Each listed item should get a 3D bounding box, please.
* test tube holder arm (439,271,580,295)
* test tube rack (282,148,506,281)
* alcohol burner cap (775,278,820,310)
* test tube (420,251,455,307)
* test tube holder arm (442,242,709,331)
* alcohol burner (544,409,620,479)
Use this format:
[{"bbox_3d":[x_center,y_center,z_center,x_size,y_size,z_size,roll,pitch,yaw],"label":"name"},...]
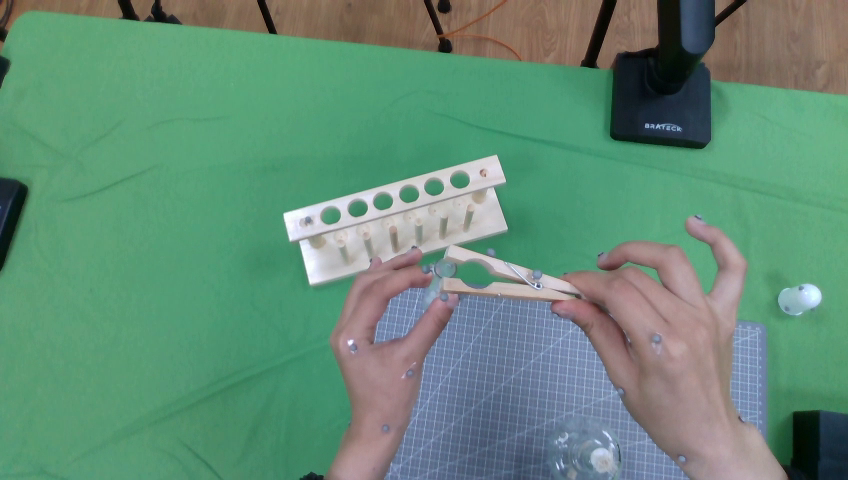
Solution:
[{"bbox_3d":[0.053,0.027,0.376,0.088,0.015,0.010,4,84,-8],"label":"test tube holder arm"},{"bbox_3d":[-0.027,-0.027,0.689,0.242,0.085,0.066,-16,74,-4],"label":"test tube rack"},{"bbox_3d":[0.424,0.060,0.684,0.034,0.048,0.033,0,73,2],"label":"alcohol burner cap"},{"bbox_3d":[0.008,0.033,0.457,0.017,0.151,0.017,1,75,-3],"label":"test tube"},{"bbox_3d":[0.098,0.030,0.383,0.179,0.015,0.013,15,83,-7],"label":"test tube holder arm"},{"bbox_3d":[0.162,0.209,0.604,0.078,0.119,0.077,0,75,0],"label":"alcohol burner"}]
